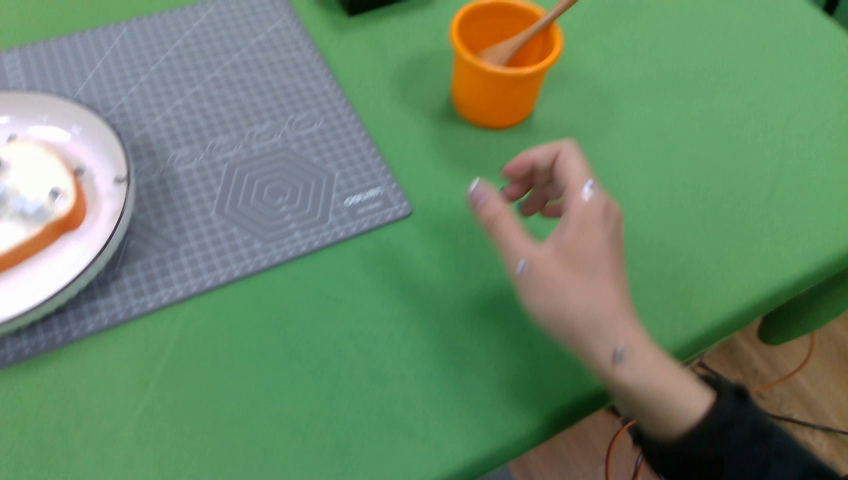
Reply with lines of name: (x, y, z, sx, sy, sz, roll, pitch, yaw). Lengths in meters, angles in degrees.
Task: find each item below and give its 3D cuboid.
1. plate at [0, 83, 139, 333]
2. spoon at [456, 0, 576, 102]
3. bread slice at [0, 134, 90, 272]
plate: (-0.306, -0.021, 0.423, 0.209, 0.038, 0.207, 3, 60, -4)
spoon: (0.098, -0.183, 0.489, 0.194, 0.022, 0.041, -37, 60, 21)
bread slice: (-0.311, -0.024, 0.426, 0.131, 0.019, 0.104, -36, 70, -22)
